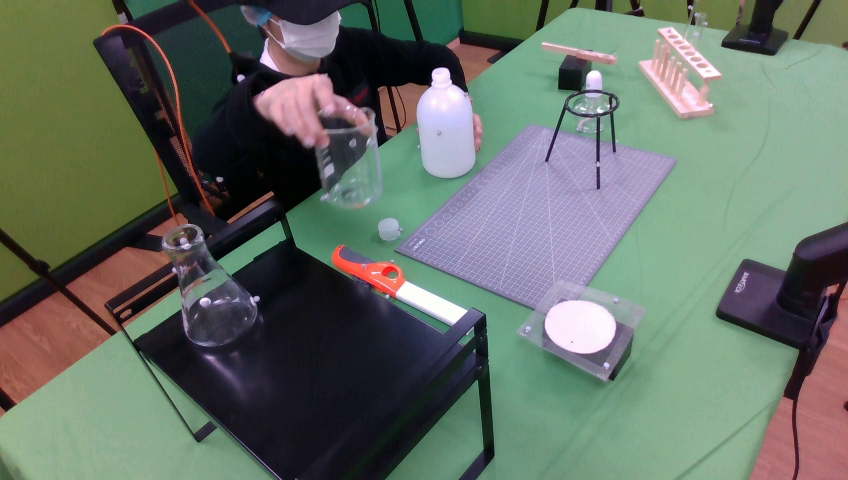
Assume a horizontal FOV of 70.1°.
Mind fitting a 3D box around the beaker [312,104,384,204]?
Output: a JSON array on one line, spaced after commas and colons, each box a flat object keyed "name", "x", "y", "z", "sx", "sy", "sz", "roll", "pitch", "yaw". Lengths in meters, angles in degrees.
[{"name": "beaker", "x": -0.085, "y": -0.101, "z": 0.711, "sx": 0.074, "sy": 0.100, "sz": 0.084, "roll": 6, "pitch": 35, "yaw": 15}]

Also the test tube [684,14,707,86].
[{"name": "test tube", "x": 0.541, "y": -0.379, "z": 1.216, "sx": 0.017, "sy": 0.151, "sz": 0.017, "roll": -2, "pitch": 44, "yaw": 2}]

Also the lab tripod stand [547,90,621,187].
[{"name": "lab tripod stand", "x": 0.289, "y": -0.184, "z": 1.062, "sx": 0.148, "sy": 0.132, "sz": 0.147, "roll": -6, "pitch": 41, "yaw": 6}]

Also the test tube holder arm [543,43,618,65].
[{"name": "test tube holder arm", "x": 0.345, "y": -0.413, "z": 1.340, "sx": 0.177, "sy": 0.015, "sz": 0.013, "roll": 25, "pitch": 50, "yaw": 31}]

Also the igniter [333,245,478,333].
[{"name": "igniter", "x": -0.038, "y": 0.068, "z": 0.905, "sx": 0.274, "sy": 0.025, "sz": 0.057, "roll": 24, "pitch": 60, "yaw": 32}]

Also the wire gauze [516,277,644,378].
[{"name": "wire gauze", "x": 0.197, "y": 0.103, "z": 0.765, "sx": 0.124, "sy": 0.011, "sz": 0.122, "roll": 23, "pitch": 50, "yaw": 32}]

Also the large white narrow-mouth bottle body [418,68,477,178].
[{"name": "large white narrow-mouth bottle body", "x": 0.041, "y": -0.216, "z": 1.097, "sx": 0.102, "sy": 0.195, "sz": 0.101, "roll": -4, "pitch": 40, "yaw": 4}]

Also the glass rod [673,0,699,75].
[{"name": "glass rod", "x": 0.541, "y": -0.427, "z": 1.246, "sx": 0.008, "sy": 0.200, "sz": 0.008, "roll": 0, "pitch": 48, "yaw": 1}]

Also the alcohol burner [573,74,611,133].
[{"name": "alcohol burner", "x": 0.330, "y": -0.270, "z": 1.176, "sx": 0.078, "sy": 0.119, "sz": 0.077, "roll": -4, "pitch": 43, "yaw": 4}]

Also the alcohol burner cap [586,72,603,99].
[{"name": "alcohol burner cap", "x": 0.325, "y": -0.297, "z": 1.154, "sx": 0.034, "sy": 0.048, "sz": 0.033, "roll": -8, "pitch": 35, "yaw": 6}]

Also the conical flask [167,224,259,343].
[{"name": "conical flask", "x": -0.220, "y": 0.041, "z": 0.613, "sx": 0.075, "sy": 0.122, "sz": 0.075, "roll": -5, "pitch": 40, "yaw": 4}]

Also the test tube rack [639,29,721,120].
[{"name": "test tube rack", "x": 0.527, "y": -0.351, "z": 1.262, "sx": 0.067, "sy": 0.085, "sz": 0.241, "roll": -8, "pitch": 40, "yaw": 1}]

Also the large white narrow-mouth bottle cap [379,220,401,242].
[{"name": "large white narrow-mouth bottle cap", "x": -0.057, "y": -0.015, "z": 1.012, "sx": 0.038, "sy": 0.024, "sz": 0.037, "roll": -4, "pitch": 40, "yaw": 4}]

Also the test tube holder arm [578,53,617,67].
[{"name": "test tube holder arm", "x": 0.376, "y": -0.393, "z": 1.314, "sx": 0.087, "sy": 0.015, "sz": 0.010, "roll": 26, "pitch": 51, "yaw": 32}]
